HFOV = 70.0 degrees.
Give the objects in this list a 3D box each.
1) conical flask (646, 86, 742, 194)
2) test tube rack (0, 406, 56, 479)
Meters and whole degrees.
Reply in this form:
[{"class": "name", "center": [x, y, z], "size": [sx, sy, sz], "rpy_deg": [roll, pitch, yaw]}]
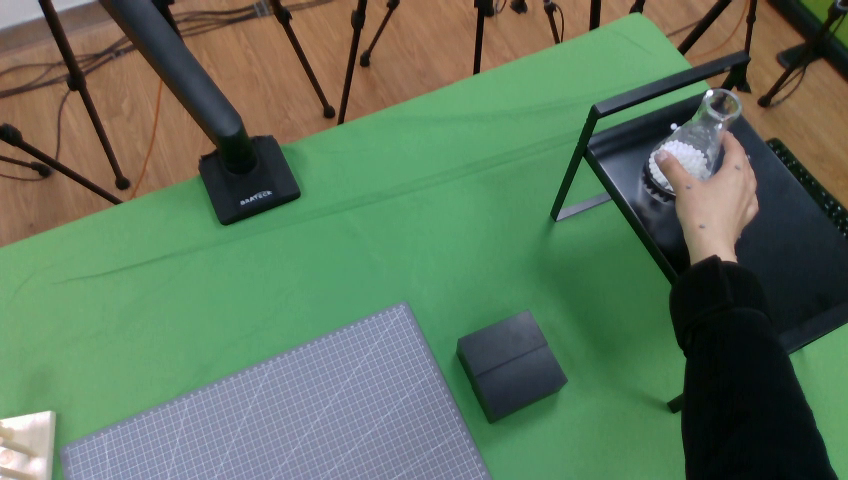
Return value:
[{"class": "conical flask", "center": [0.292, -0.109, 0.645], "size": [0.075, 0.123, 0.074], "rpy_deg": [1, 63, -1]}, {"class": "test tube rack", "center": [-0.458, 0.296, 0.647], "size": [0.067, 0.086, 0.240], "rpy_deg": [-9, 64, -6]}]
